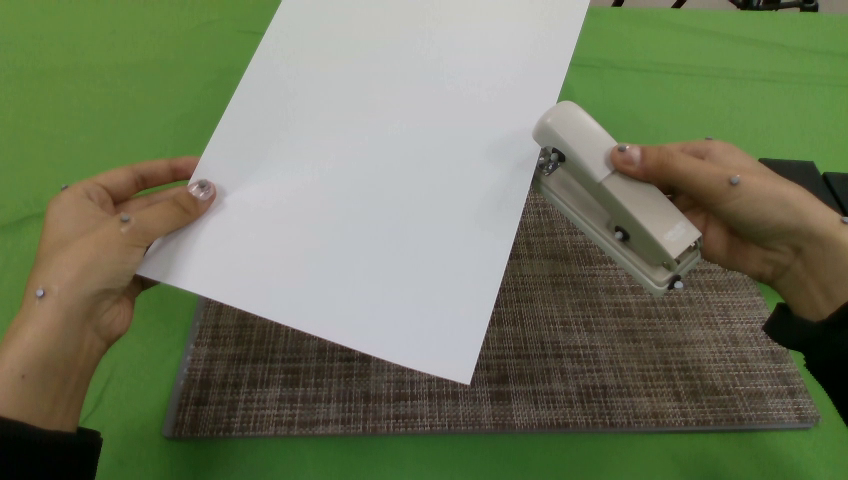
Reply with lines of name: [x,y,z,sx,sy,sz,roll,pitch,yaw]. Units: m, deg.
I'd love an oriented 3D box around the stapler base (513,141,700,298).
stapler base: [0.111,-0.024,0.376,0.041,0.024,0.129,-40,70,-9]

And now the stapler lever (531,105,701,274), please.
stapler lever: [0.110,-0.033,0.353,0.027,0.040,0.117,-40,69,-9]
